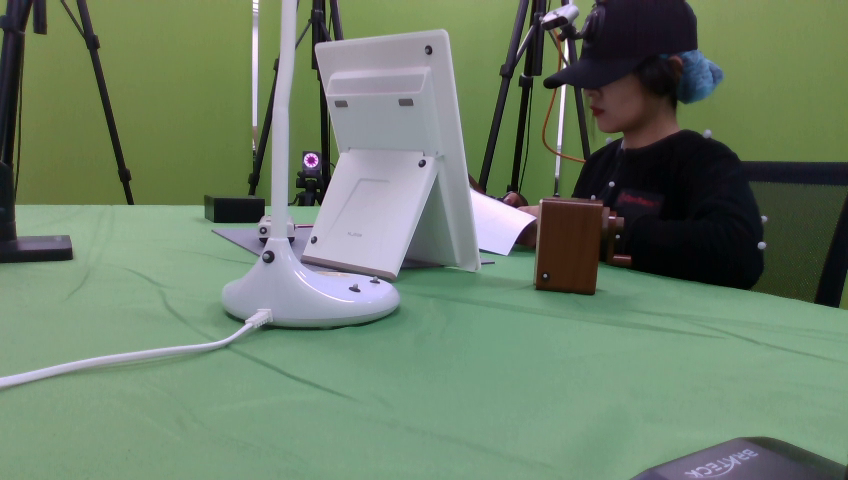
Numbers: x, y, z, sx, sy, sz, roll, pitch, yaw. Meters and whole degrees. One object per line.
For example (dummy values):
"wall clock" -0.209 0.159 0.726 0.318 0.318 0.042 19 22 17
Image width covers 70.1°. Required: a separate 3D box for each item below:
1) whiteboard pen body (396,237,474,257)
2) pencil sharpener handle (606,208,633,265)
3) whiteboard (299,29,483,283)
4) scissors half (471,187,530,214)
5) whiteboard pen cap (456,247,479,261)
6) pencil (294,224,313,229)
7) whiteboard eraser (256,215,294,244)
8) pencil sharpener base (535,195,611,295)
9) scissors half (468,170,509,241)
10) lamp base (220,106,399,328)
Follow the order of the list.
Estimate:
"whiteboard pen body" 0.014 0.012 0.886 0.140 0.017 0.017 9 10 38
"pencil sharpener handle" 0.223 -0.004 0.683 0.030 0.068 0.036 5 20 17
"whiteboard" -0.074 -0.082 0.742 0.216 0.305 0.144 9 30 38
"scissors half" 0.130 -0.087 1.155 0.176 0.040 0.013 13 8 -23
"whiteboard pen cap" 0.060 0.020 0.851 0.033 0.018 0.018 10 10 37
"pencil" -0.221 -0.028 1.211 0.195 0.012 0.012 -5 10 -34
"whiteboard eraser" -0.232 -0.016 0.951 0.056 0.042 0.112 2 7 -12
"pencil sharpener base" 0.172 0.005 0.696 0.076 0.107 0.061 5 7 16
"scissors half" 0.115 -0.067 1.155 0.040 0.175 0.012 -32 24 -7
"lamp base" -0.101 -0.023 0.531 0.160 0.180 0.179 4 10 10
